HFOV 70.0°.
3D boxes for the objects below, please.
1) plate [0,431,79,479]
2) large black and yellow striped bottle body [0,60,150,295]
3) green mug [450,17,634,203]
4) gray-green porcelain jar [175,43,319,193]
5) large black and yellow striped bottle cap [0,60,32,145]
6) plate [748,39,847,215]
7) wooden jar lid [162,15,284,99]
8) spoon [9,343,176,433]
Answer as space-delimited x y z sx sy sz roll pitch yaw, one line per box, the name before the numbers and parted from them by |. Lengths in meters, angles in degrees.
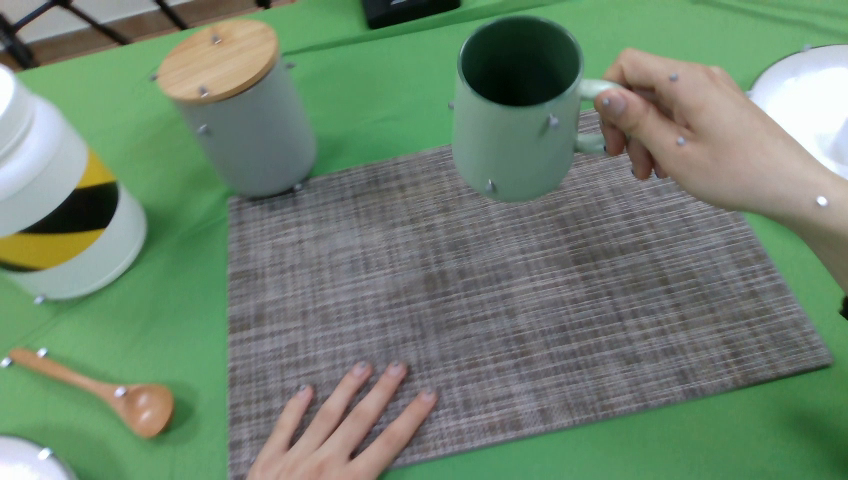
plate | -0.327 0.239 0.416 0.209 0.038 0.207 -4 55 6
large black and yellow striped bottle body | -0.343 -0.049 0.525 0.130 0.186 0.129 -4 55 7
green mug | 0.079 -0.084 0.417 0.125 0.106 0.092 6 64 7
gray-green porcelain jar | -0.162 -0.117 0.575 0.106 0.128 0.105 -5 51 7
large black and yellow striped bottle cap | -0.356 -0.095 0.457 0.115 0.019 0.114 -4 54 6
plate | 0.391 -0.094 0.525 0.207 0.039 0.205 -5 55 7
wooden jar lid | -0.171 -0.156 0.527 0.108 0.021 0.107 -6 54 9
spoon | -0.279 0.114 0.503 0.193 0.022 0.041 15 78 18
